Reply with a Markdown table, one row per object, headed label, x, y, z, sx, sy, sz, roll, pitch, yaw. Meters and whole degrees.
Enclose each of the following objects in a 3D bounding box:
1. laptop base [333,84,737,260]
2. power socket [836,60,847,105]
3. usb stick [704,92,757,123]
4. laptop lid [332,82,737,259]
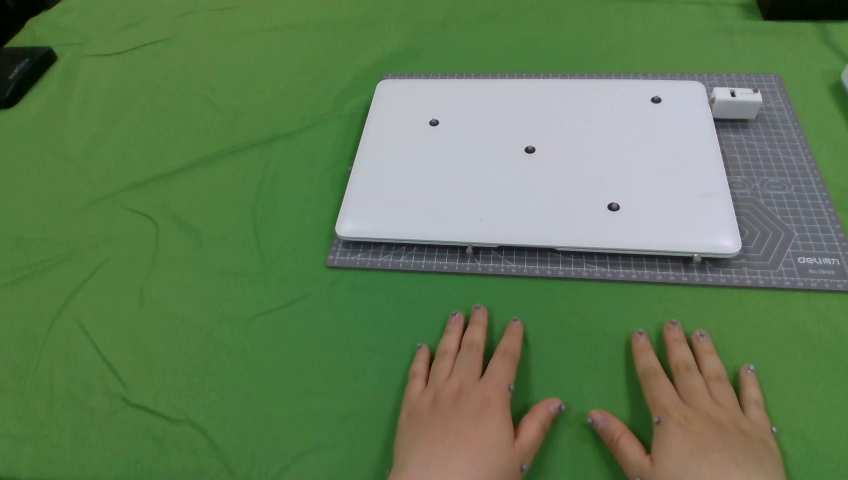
| label | x | y | z | sx | sy | sz | roll | pitch | yaw |
| --- | --- | --- | --- | --- | --- | --- | --- | --- | --- |
| laptop base | 0.103 | -0.075 | 0.604 | 0.354 | 0.023 | 0.233 | 2 | 53 | 8 |
| power socket | 0.469 | -0.107 | 0.582 | 0.072 | 0.033 | 0.224 | 2 | 49 | 6 |
| usb stick | 0.303 | -0.135 | 0.618 | 0.059 | 0.027 | 0.021 | 1 | 48 | 12 |
| laptop lid | 0.102 | -0.081 | 0.593 | 0.356 | 0.013 | 0.239 | 4 | 52 | 9 |
